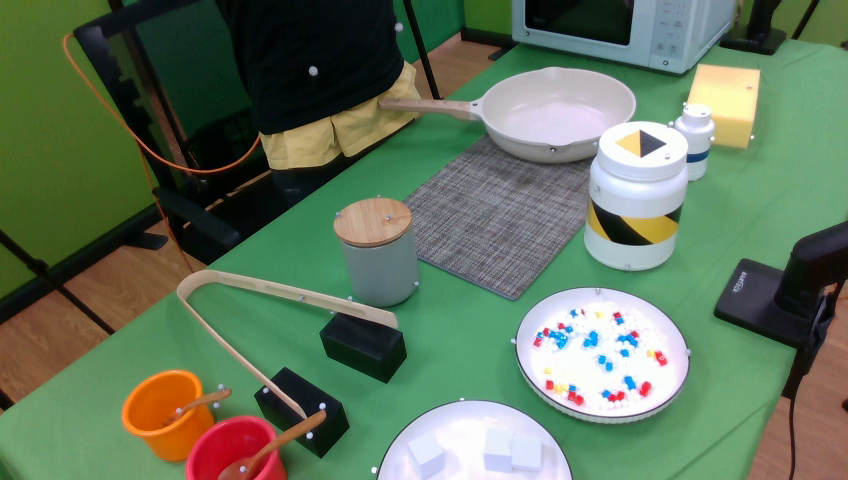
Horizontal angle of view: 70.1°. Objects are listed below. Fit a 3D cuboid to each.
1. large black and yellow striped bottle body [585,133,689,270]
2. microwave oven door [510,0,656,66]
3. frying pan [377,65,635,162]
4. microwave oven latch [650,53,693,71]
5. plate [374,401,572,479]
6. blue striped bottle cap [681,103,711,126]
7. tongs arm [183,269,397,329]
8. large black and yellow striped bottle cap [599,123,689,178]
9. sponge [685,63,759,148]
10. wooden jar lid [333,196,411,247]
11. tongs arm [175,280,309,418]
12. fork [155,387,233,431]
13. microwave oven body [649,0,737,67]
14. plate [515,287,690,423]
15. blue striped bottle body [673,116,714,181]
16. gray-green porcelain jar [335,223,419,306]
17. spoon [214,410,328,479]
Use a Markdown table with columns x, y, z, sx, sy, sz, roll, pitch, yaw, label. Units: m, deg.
| x | y | z | sx | sy | sz | roll | pitch | yaw | label |
| --- | --- | --- | --- | --- | --- | --- | --- | --- | --- |
| 0.305 | -0.061 | 0.874 | 0.131 | 0.185 | 0.130 | -4 | 41 | 4 | large black and yellow striped bottle body |
| 0.350 | -0.539 | 1.349 | 0.353 | 0.245 | 0.039 | 24 | 50 | 31 | microwave oven door |
| 0.150 | -0.254 | 1.177 | 0.488 | 0.103 | 0.306 | 6 | 41 | 3 | frying pan |
| 0.531 | -0.386 | 1.301 | 0.078 | 0.029 | 0.030 | 26 | 51 | 33 | microwave oven latch |
| 0.051 | 0.268 | 0.639 | 0.207 | 0.039 | 0.206 | -3 | 40 | 3 | plate |
| 0.446 | -0.205 | 0.990 | 0.044 | 0.021 | 0.044 | -5 | 43 | 5 | blue striped bottle cap |
| -0.203 | 0.085 | 0.847 | 0.382 | 0.027 | 0.051 | 11 | 44 | 34 | tongs arm |
| 0.296 | -0.123 | 0.818 | 0.115 | 0.019 | 0.114 | -5 | 40 | 5 | large black and yellow striped bottle cap |
| 0.569 | -0.263 | 1.164 | 0.117 | 0.061 | 0.207 | 12 | 45 | 22 | sponge |
| -0.071 | -0.023 | 0.830 | 0.108 | 0.021 | 0.108 | -4 | 36 | 3 | wooden jar lid |
| -0.255 | 0.133 | 0.800 | 0.028 | 0.028 | 0.384 | -41 | 40 | -23 | tongs arm |
| -0.264 | 0.192 | 0.687 | 0.018 | 0.206 | 0.028 | 51 | 44 | -5 | fork |
| 0.475 | -0.602 | 1.411 | 0.438 | 0.261 | 0.327 | 23 | 50 | 32 | microwave oven body |
| 0.220 | 0.144 | 0.760 | 0.209 | 0.038 | 0.208 | -4 | 40 | 4 | plate |
| 0.451 | -0.166 | 1.023 | 0.063 | 0.121 | 0.063 | -4 | 41 | 4 | blue striped bottle body |
| -0.064 | 0.024 | 0.872 | 0.106 | 0.127 | 0.105 | -4 | 41 | 4 | gray-green porcelain jar |
| -0.166 | 0.224 | 0.639 | 0.193 | 0.022 | 0.041 | -40 | 33 | 29 | spoon |
